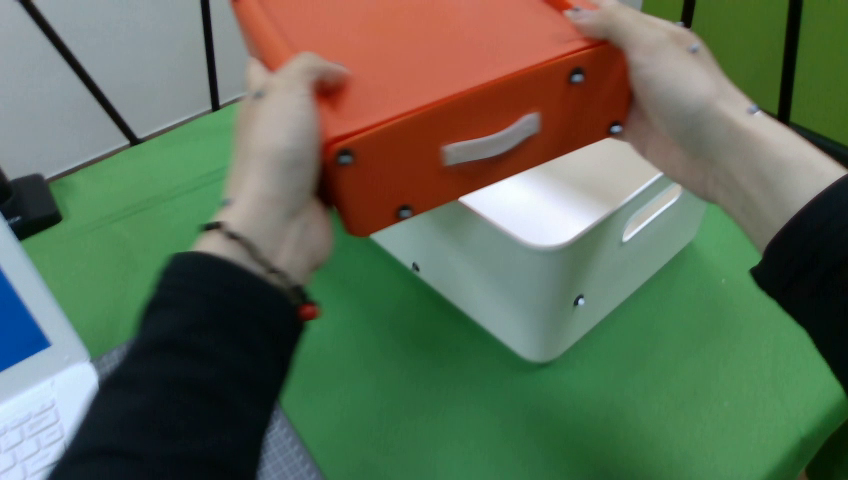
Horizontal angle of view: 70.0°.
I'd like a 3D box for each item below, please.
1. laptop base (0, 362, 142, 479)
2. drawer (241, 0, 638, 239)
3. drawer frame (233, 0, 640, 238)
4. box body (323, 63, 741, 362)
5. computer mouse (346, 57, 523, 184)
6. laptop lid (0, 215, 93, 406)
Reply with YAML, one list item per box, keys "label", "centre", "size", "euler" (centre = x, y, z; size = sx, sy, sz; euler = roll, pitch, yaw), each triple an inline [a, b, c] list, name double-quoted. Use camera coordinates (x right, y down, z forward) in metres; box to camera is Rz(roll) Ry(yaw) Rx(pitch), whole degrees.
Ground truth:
- label: "laptop base"
  centre: [-0.380, 0.257, 0.432]
  size: [0.354, 0.023, 0.233]
  euler: [-30, 51, -22]
- label: "drawer"
  centre: [-0.001, -0.120, 0.417]
  size: [0.195, 0.074, 0.209]
  euler: [-23, 48, -13]
- label: "drawer frame"
  centre: [-0.004, -0.123, 0.420]
  size: [0.202, 0.083, 0.211]
  euler: [-24, 48, -13]
- label: "box body"
  centre: [0.071, -0.078, 0.611]
  size: [0.254, 0.162, 0.360]
  euler: [-34, 49, -25]
- label: "computer mouse"
  centre: [0.006, -0.084, 0.405]
  size: [0.117, 0.041, 0.062]
  euler: [-28, 51, -10]
- label: "laptop lid"
  centre: [-0.492, 0.094, 0.470]
  size: [0.357, 0.243, 0.013]
  euler: [-32, 19, -21]
